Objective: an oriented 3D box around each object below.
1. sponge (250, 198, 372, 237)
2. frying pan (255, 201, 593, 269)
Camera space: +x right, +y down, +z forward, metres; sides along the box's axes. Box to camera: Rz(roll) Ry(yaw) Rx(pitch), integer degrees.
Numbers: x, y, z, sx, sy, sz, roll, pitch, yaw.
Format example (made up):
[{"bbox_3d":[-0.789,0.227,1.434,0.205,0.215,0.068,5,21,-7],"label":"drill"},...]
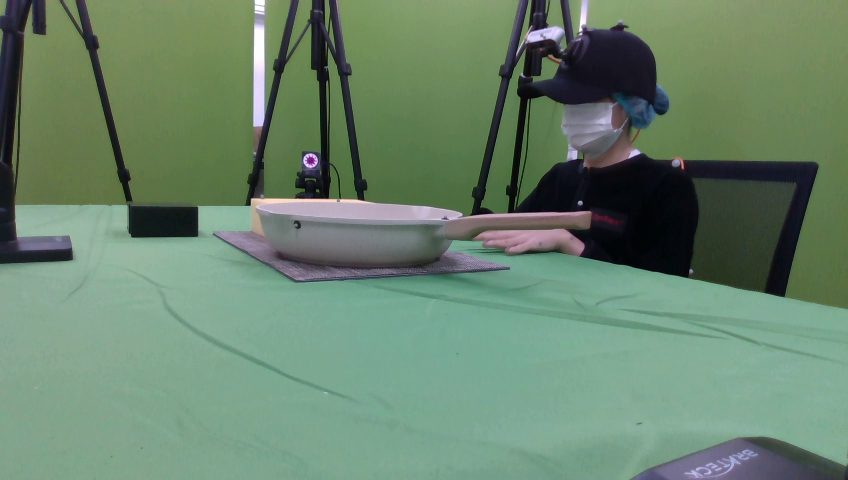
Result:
[{"bbox_3d":[-0.194,-0.040,1.081,0.208,0.061,0.117,-2,9,-33],"label":"sponge"},{"bbox_3d":[-0.011,-0.017,0.802,0.485,0.102,0.308,-2,4,39],"label":"frying pan"}]
